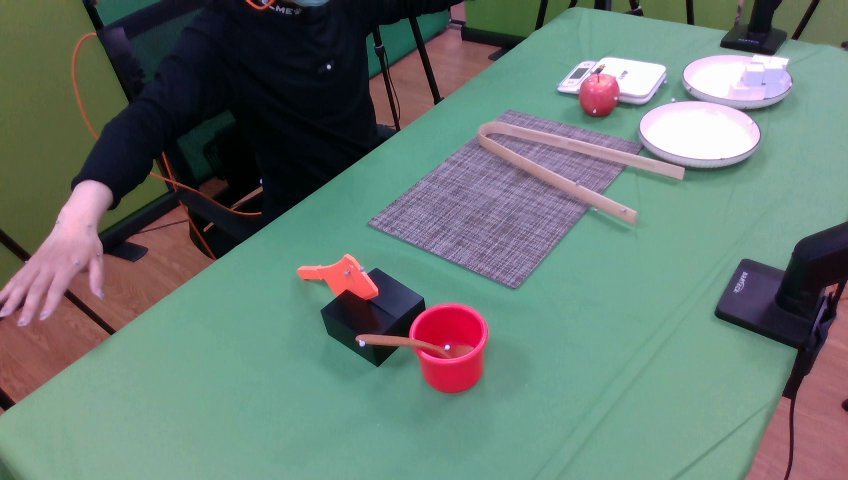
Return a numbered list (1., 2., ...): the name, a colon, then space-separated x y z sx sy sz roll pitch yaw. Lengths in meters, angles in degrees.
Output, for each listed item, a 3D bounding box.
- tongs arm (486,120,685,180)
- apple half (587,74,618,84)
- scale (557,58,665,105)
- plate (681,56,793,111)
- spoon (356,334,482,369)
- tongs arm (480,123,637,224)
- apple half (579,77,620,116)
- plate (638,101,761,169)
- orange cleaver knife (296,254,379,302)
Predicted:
1. tongs arm: 0.287 -0.171 1.123 0.384 0.028 0.028 21 52 29
2. apple half: 0.366 -0.310 1.243 0.081 0.081 0.033 15 49 24
3. scale: 0.407 -0.348 1.314 0.199 0.032 0.149 19 47 28
4. plate: 0.636 -0.317 1.239 0.207 0.039 0.206 -4 40 4
5. spoon: -0.001 0.130 0.731 0.195 0.021 0.041 21 27 -39
6. tongs arm: 0.227 -0.128 1.080 0.051 0.026 0.381 -33 46 -26
7. apple half: 0.348 -0.285 1.218 0.080 0.075 0.053 17 49 22
8. plate: 0.500 -0.189 1.111 0.209 0.038 0.208 -4 41 4
9. orange cleaver knife: -0.129 0.058 0.874 0.012 0.077 0.210 -38 16 -30
